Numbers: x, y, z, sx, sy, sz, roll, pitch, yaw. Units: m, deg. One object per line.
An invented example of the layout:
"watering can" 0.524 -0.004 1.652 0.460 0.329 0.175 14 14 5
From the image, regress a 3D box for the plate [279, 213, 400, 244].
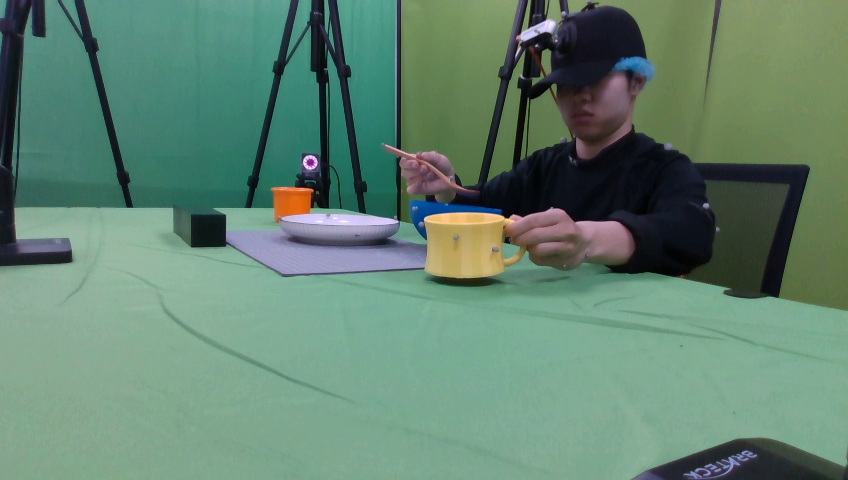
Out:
"plate" -0.147 -0.020 1.060 0.209 0.038 0.209 3 7 0

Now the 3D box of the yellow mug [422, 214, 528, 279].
"yellow mug" 0.063 0.005 0.742 0.131 0.064 0.100 -2 9 -7

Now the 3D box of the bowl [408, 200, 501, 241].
"bowl" 0.045 -0.019 0.967 0.151 0.077 0.151 6 5 0

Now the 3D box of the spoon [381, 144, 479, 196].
"spoon" 0.008 -0.120 1.022 0.193 0.021 0.042 33 13 18
